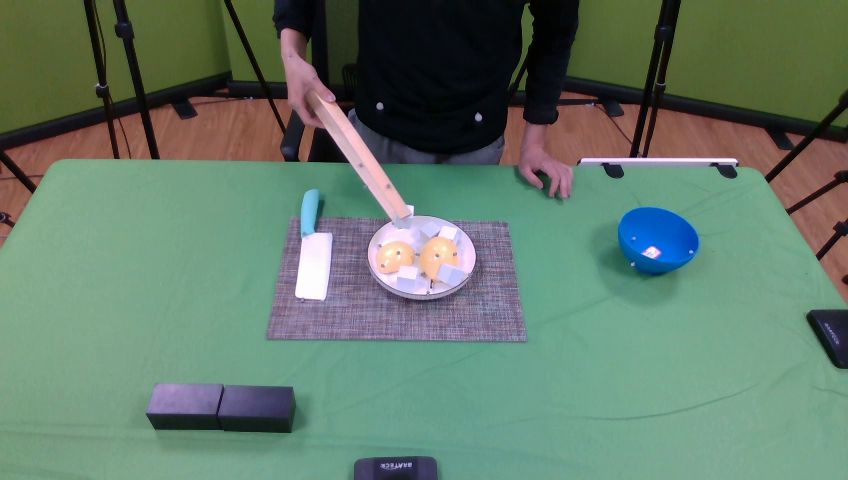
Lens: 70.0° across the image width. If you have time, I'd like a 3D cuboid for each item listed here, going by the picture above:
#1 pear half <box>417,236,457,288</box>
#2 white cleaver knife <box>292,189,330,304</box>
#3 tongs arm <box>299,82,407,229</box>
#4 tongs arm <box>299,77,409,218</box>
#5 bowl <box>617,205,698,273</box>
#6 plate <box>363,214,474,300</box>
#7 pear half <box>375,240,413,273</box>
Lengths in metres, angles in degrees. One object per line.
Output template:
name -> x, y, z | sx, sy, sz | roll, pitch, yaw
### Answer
pear half -> 0.022, 0.039, 1.127 | 0.076, 0.056, 0.109 | 6, 50, 7
white cleaver knife -> -0.216, 0.008, 1.180 | 0.066, 0.021, 0.284 | 10, 48, -17
tongs arm -> -0.141, -0.172, 1.160 | 0.026, 0.051, 0.382 | -26, 61, -22
tongs arm -> -0.138, -0.185, 1.139 | 0.028, 0.028, 0.385 | -27, 65, -18
bowl -> 0.444, 0.011, 1.181 | 0.151, 0.077, 0.150 | 2, 46, -2
plate -> -0.010, 0.036, 1.146 | 0.208, 0.039, 0.206 | 3, 46, -2
pear half -> -0.059, 0.026, 1.145 | 0.070, 0.031, 0.088 | 22, 43, 21
